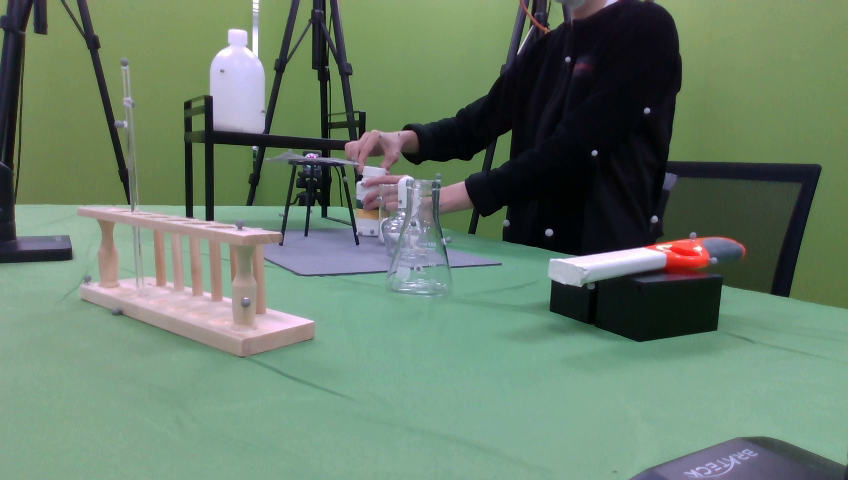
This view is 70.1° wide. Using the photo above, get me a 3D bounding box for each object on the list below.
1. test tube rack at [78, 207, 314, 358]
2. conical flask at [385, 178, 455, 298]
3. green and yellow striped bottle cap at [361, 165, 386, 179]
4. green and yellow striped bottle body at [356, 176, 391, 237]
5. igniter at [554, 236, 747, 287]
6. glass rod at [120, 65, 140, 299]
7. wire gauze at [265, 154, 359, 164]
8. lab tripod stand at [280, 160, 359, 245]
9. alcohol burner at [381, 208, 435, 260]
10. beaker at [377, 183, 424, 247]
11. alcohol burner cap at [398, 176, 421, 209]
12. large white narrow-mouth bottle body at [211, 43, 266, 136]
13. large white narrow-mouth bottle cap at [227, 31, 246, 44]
[{"bbox_3d":[-0.197,0.024,0.499,0.241,0.085,0.067,8,8,37],"label":"test tube rack"},{"bbox_3d":[-0.002,-0.004,0.639,0.075,0.122,0.075,2,7,0],"label":"conical flask"},{"bbox_3d":[-0.091,-0.123,1.100,0.045,0.020,0.045,5,-3,1],"label":"green and yellow striped bottle cap"},{"bbox_3d":[-0.094,-0.069,1.108,0.063,0.119,0.063,3,8,0],"label":"green and yellow striped bottle body"},{"bbox_3d":[0.221,0.017,0.558,0.278,0.025,0.057,-5,14,-39],"label":"igniter"},{"bbox_3d":[-0.249,-0.047,0.513,0.008,0.199,0.008,-1,4,0],"label":"glass rod"},{"bbox_3d":[-0.181,-0.129,0.969,0.126,0.011,0.121,-1,7,-27],"label":"wire gauze"},{"bbox_3d":[-0.176,-0.062,0.973,0.148,0.131,0.148,1,7,0],"label":"lab tripod stand"},{"bbox_3d":[-0.023,-0.032,0.871,0.078,0.119,0.078,0,6,0],"label":"alcohol burner"},{"bbox_3d":[-0.038,-0.041,0.995,0.074,0.100,0.083,-5,12,-44],"label":"beaker"},{"bbox_3d":[-0.023,-0.068,0.866,0.034,0.048,0.034,-5,8,1],"label":"alcohol burner cap"},{"bbox_3d":[-0.361,-0.302,1.176,0.102,0.194,0.102,1,7,0],"label":"large white narrow-mouth bottle body"},{"bbox_3d":[-0.361,-0.387,1.166,0.038,0.024,0.037,1,7,0],"label":"large white narrow-mouth bottle cap"}]
